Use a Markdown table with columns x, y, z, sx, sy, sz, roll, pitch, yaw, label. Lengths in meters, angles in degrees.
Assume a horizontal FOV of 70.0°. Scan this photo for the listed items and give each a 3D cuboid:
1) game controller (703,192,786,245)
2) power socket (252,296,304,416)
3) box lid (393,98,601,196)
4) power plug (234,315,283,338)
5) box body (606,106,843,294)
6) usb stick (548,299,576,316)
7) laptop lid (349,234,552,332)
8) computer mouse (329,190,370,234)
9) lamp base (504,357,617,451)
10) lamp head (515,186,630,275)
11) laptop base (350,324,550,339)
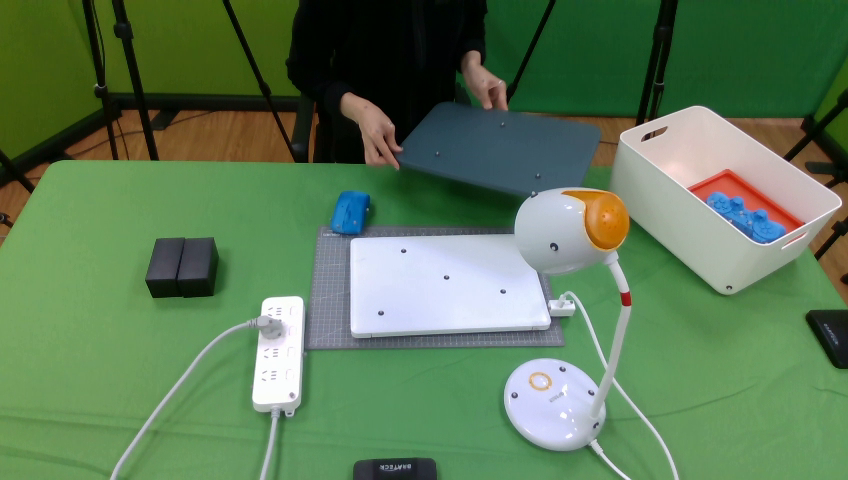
| x | y | z | sx | sy | sz | roll | pitch | yaw | label |
| --- | --- | --- | --- | --- | --- | --- | --- | --- | --- |
| 0.612 | -0.044 | 1.167 | 0.154 | 0.052 | 0.097 | 36 | 57 | 27 | game controller |
| -0.238 | 0.181 | 0.997 | 0.072 | 0.033 | 0.225 | -3 | 47 | -5 | power socket |
| 0.150 | -0.189 | 1.210 | 0.370 | 0.015 | 0.262 | 15 | 46 | 19 | box lid |
| -0.269 | 0.143 | 1.000 | 0.072 | 0.053 | 0.035 | 4 | 47 | 3 | power plug |
| 0.582 | -0.088 | 1.230 | 0.254 | 0.161 | 0.361 | -22 | 52 | -23 | box body |
| 0.239 | 0.121 | 1.084 | 0.059 | 0.027 | 0.021 | -1 | 51 | -1 | usb stick |
| 0.040 | 0.071 | 1.118 | 0.357 | 0.013 | 0.240 | 0 | 44 | -5 | laptop lid |
| -0.150 | -0.061 | 1.232 | 0.063 | 0.041 | 0.116 | 10 | 48 | 4 | computer mouse |
| 0.220 | 0.211 | 0.903 | 0.160 | 0.181 | 0.178 | -33 | 59 | -30 | lamp base |
| 0.188 | -0.013 | 0.728 | 0.112 | 0.112 | 0.122 | -25 | 9 | -25 | lamp head |
| 0.039 | 0.081 | 1.124 | 0.355 | 0.023 | 0.234 | -2 | 43 | -6 | laptop base |
